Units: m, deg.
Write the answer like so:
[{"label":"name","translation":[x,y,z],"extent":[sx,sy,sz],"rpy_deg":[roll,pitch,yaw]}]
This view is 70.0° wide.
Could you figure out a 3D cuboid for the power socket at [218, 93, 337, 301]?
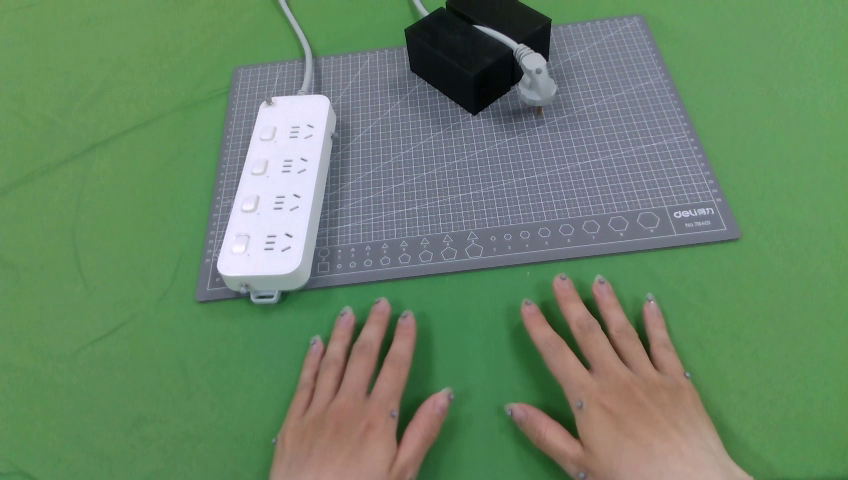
[{"label":"power socket","translation":[-0.127,-0.051,0.546],"extent":[0.072,0.033,0.224],"rpy_deg":[0,56,5]}]

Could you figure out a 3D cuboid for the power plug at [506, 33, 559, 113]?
[{"label":"power plug","translation":[0.102,-0.158,0.575],"extent":[0.035,0.053,0.072],"rpy_deg":[-11,58,-6]}]
